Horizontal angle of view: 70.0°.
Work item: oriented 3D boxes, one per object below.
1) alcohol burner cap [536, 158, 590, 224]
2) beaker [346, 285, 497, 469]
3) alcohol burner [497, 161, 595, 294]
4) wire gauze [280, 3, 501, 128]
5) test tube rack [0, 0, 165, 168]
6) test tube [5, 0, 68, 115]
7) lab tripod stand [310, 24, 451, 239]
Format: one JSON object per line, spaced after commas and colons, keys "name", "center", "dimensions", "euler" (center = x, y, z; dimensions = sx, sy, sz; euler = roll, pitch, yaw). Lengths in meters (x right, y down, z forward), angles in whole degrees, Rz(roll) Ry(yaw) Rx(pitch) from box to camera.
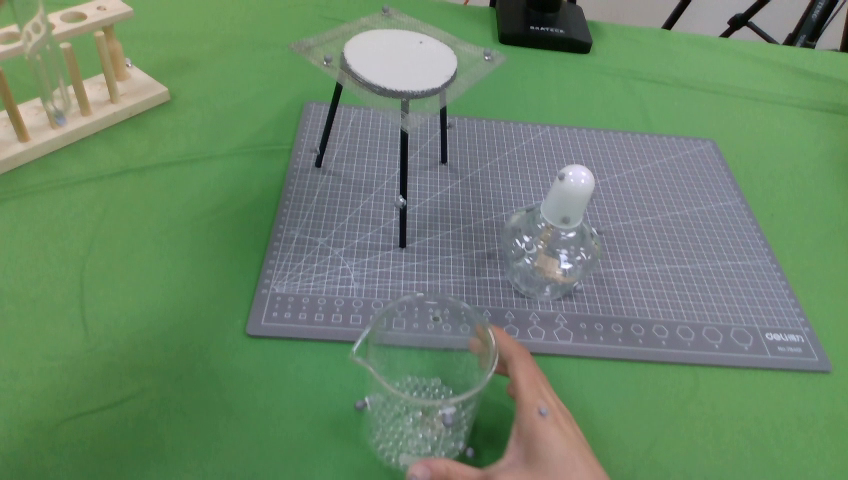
{"name": "alcohol burner cap", "center": [0.102, -0.037, 0.437], "dimensions": [0.034, 0.048, 0.033], "euler": [4, 51, -5]}
{"name": "beaker", "center": [-0.005, 0.087, 0.367], "dimensions": [0.084, 0.101, 0.073], "euler": [-3, 47, -10]}
{"name": "alcohol burner", "center": [0.098, -0.014, 0.464], "dimensions": [0.078, 0.120, 0.077], "euler": [6, 45, -6]}
{"name": "wire gauze", "center": [-0.023, -0.141, 0.457], "dimensions": [0.124, 0.011, 0.121], "euler": [35, 52, 20]}
{"name": "test tube rack", "center": [-0.356, -0.128, 0.521], "dimensions": [0.066, 0.086, 0.242], "euler": [34, 51, 21]}
{"name": "test tube", "center": [-0.203, -0.125, 0.304], "dimensions": [0.017, 0.151, 0.017], "euler": [8, 47, -9]}
{"name": "lab tripod stand", "center": [-0.028, -0.096, 0.506], "dimensions": [0.148, 0.132, 0.147], "euler": [6, 47, -6]}
